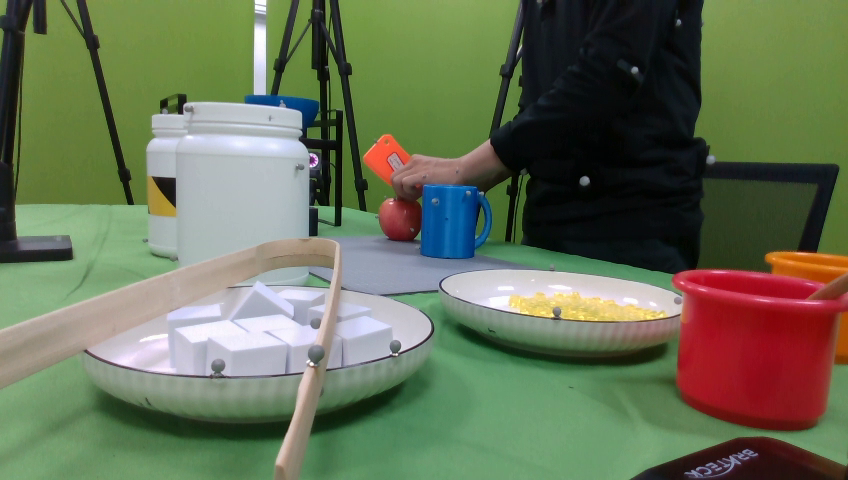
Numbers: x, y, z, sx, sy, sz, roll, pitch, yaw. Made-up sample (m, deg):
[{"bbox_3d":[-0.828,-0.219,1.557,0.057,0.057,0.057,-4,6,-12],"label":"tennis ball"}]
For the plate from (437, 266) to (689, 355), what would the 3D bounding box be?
[{"bbox_3d":[0.114,0.057,0.517,0.209,0.038,0.209,3,7,0],"label":"plate"}]

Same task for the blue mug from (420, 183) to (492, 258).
[{"bbox_3d":[0.052,-0.032,0.912,0.117,0.106,0.082,-1,8,-24],"label":"blue mug"}]

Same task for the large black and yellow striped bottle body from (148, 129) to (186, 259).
[{"bbox_3d":[-0.310,-0.073,0.838,0.131,0.184,0.130,2,8,0],"label":"large black and yellow striped bottle body"}]

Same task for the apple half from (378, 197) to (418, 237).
[{"bbox_3d":[-0.052,-0.044,1.090,0.082,0.081,0.032,-1,14,-25],"label":"apple half"}]

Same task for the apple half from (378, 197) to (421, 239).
[{"bbox_3d":[-0.036,-0.037,1.056,0.081,0.074,0.053,4,9,-25],"label":"apple half"}]

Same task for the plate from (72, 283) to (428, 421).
[{"bbox_3d":[-0.102,0.066,0.381,0.208,0.039,0.207,2,7,0],"label":"plate"}]

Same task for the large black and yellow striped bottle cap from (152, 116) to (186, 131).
[{"bbox_3d":[-0.309,-0.155,0.826,0.115,0.019,0.115,3,6,0],"label":"large black and yellow striped bottle cap"}]

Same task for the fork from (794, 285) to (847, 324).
[{"bbox_3d":[0.332,0.018,0.442,0.028,0.018,0.207,0,-36,-15],"label":"fork"}]

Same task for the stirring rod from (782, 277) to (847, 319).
[{"bbox_3d":[0.344,0.019,0.460,0.014,0.006,0.176,-13,-27,-30],"label":"stirring rod"}]

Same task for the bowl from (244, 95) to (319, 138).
[{"bbox_3d":[-0.293,-0.251,1.249,0.151,0.077,0.151,2,8,0],"label":"bowl"}]

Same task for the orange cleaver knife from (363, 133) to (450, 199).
[{"bbox_3d":[-0.015,-0.113,1.080,0.212,0.077,0.012,31,-10,-29],"label":"orange cleaver knife"}]

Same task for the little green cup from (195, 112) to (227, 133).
[{"bbox_3d":[-0.412,-0.227,1.171,0.061,0.038,0.061,3,8,0],"label":"little green cup"}]

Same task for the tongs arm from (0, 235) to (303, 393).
[{"bbox_3d":[-0.157,0.038,0.351,0.028,0.028,0.388,-3,8,12],"label":"tongs arm"}]

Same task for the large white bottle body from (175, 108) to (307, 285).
[{"bbox_3d":[-0.188,-0.042,0.630,0.131,0.184,0.130,2,8,0],"label":"large white bottle body"}]

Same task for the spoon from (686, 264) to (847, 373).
[{"bbox_3d":[0.214,0.032,0.328,0.042,0.021,0.193,-2,-35,-25],"label":"spoon"}]

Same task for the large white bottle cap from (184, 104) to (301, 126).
[{"bbox_3d":[-0.184,-0.126,0.618,0.115,0.018,0.115,2,8,0],"label":"large white bottle cap"}]

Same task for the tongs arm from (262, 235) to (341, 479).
[{"bbox_3d":[-0.073,0.039,0.349,0.051,0.026,0.384,-1,9,-3],"label":"tongs arm"}]
